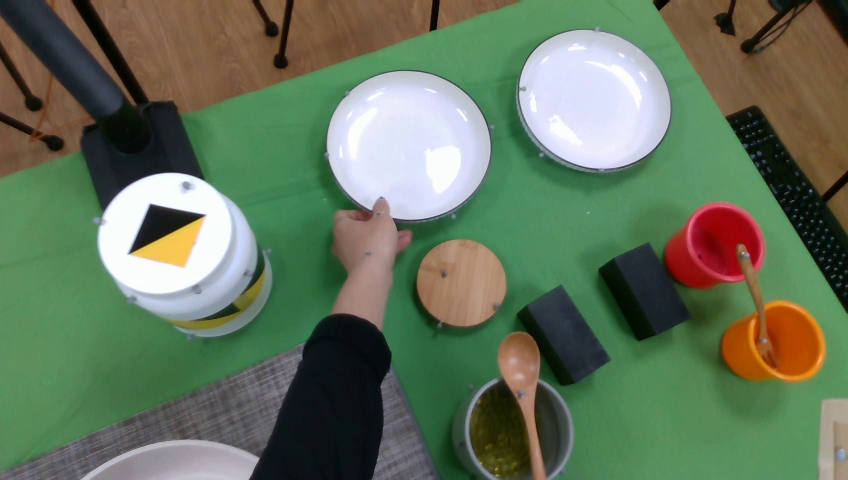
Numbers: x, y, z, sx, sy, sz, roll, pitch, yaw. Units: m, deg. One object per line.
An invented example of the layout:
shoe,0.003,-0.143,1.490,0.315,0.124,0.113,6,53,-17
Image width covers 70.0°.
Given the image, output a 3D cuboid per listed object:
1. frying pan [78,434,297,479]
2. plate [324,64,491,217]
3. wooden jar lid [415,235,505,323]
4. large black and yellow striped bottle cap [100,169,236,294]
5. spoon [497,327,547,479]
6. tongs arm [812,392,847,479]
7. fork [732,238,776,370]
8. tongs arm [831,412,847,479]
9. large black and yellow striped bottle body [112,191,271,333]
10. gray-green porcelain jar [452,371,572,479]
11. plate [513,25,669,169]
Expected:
frying pan,-0.258,0.427,0.537,0.307,0.103,0.484,17,64,1
plate,-0.021,-0.123,0.766,0.208,0.039,0.206,2,73,-5
wooden jar lid,0.043,0.048,0.731,0.108,0.021,0.108,2,74,-5
large black and yellow striped bottle cap,-0.230,-0.009,0.546,0.115,0.019,0.114,2,74,-5
spoon,0.100,0.178,0.566,0.042,0.022,0.192,-5,77,-11
tongs arm,0.303,0.295,0.451,0.028,0.028,0.388,-4,101,10
fork,0.373,0.076,0.685,0.028,0.018,0.209,-35,123,-6
tongs arm,0.298,0.299,0.431,0.026,0.051,0.385,-4,97,14
large black and yellow striped bottle body,-0.237,0.018,0.626,0.131,0.185,0.130,2,72,-5
gray-green porcelain jar,0.085,0.194,0.634,0.106,0.127,0.105,2,72,-5
plate,0.219,-0.188,0.808,0.209,0.038,0.208,2,73,-5
